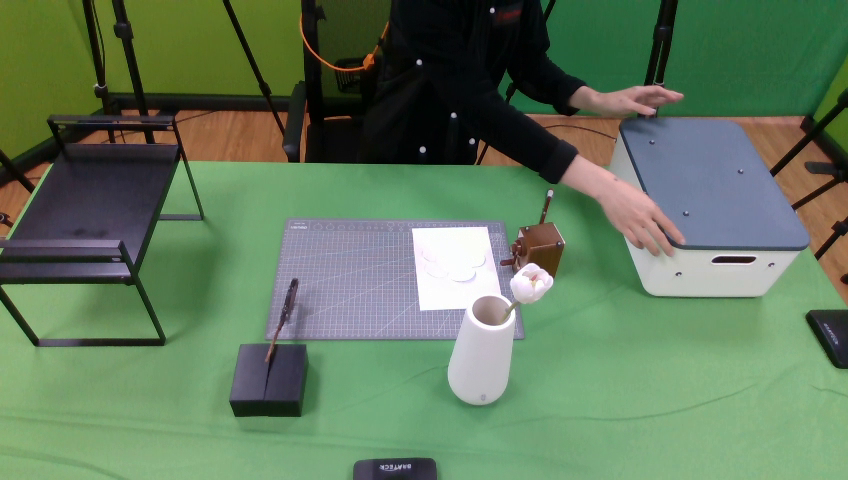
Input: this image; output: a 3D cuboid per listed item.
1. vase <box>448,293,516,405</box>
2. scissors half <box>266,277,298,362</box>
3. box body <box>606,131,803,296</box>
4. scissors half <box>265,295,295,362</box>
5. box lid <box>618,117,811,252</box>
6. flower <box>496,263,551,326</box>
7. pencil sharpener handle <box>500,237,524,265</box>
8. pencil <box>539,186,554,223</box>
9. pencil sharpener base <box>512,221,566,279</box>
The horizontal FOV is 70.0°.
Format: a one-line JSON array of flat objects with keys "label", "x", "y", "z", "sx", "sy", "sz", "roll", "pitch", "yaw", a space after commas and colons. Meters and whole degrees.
[{"label": "vase", "x": 0.091, "y": 0.169, "z": 0.921, "sx": 0.098, "sy": 0.201, "sz": 0.097, "roll": 3, "pitch": 47, "yaw": -3}, {"label": "scissors half", "x": -0.234, "y": 0.127, "z": 0.993, "sx": 0.013, "sy": 0.040, "sz": 0.174, "roll": 12, "pitch": 46, "yaw": -4}, {"label": "box body", "x": 0.530, "y": -0.067, "z": 1.204, "sx": 0.254, "sy": 0.161, "sz": 0.361, "roll": 1, "pitch": 46, "yaw": -4}, {"label": "scissors half", "x": -0.239, "y": 0.143, "z": 1.005, "sx": 0.013, "sy": 0.040, "sz": 0.174, "roll": 17, "pitch": 28, "yaw": -7}, {"label": "box lid", "x": 0.534, "y": -0.117, "z": 1.148, "sx": 0.263, "sy": 0.015, "sz": 0.369, "roll": 0, "pitch": 47, "yaw": -3}, {"label": "flower", "x": 0.102, "y": 0.120, "z": 0.853, "sx": 0.044, "sy": 0.363, "sz": 0.038, "roll": -1, "pitch": 64, "yaw": -10}, {"label": "pencil sharpener handle", "x": 0.159, "y": 0.024, "z": 1.111, "sx": 0.031, "sy": 0.068, "sz": 0.035, "roll": -9, "pitch": 54, "yaw": -12}, {"label": "pencil", "x": 0.250, "y": -0.049, "z": 1.273, "sx": 0.012, "sy": 0.012, "sz": 0.193, "roll": 16, "pitch": 49, "yaw": 11}, {"label": "pencil sharpener base", "x": 0.208, "y": 0.025, "z": 1.130, "sx": 0.077, "sy": 0.107, "sz": 0.061, "roll": -9, "pitch": 48, "yaw": -12}]
